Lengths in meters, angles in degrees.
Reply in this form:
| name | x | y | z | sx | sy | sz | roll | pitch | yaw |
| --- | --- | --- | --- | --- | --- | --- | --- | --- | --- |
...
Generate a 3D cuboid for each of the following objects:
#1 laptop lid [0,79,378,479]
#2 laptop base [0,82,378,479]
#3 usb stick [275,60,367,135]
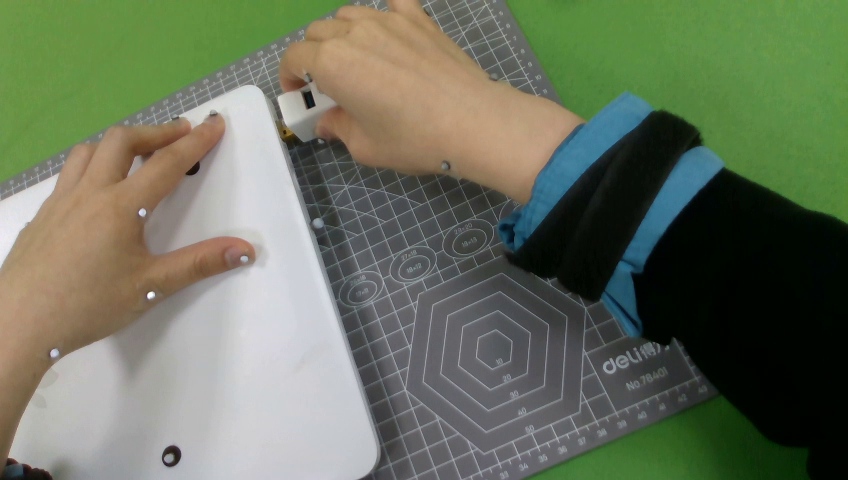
| name | x | y | z | sx | sy | sz | roll | pitch | yaw |
| --- | --- | --- | --- | --- | --- | --- | --- | --- | --- |
| laptop lid | -0.219 | 0.072 | 0.340 | 0.356 | 0.013 | 0.240 | -22 | 72 | 6 |
| laptop base | -0.217 | 0.074 | 0.352 | 0.354 | 0.023 | 0.234 | -23 | 73 | 6 |
| usb stick | -0.065 | -0.078 | 0.346 | 0.059 | 0.027 | 0.021 | -22 | 72 | 10 |
